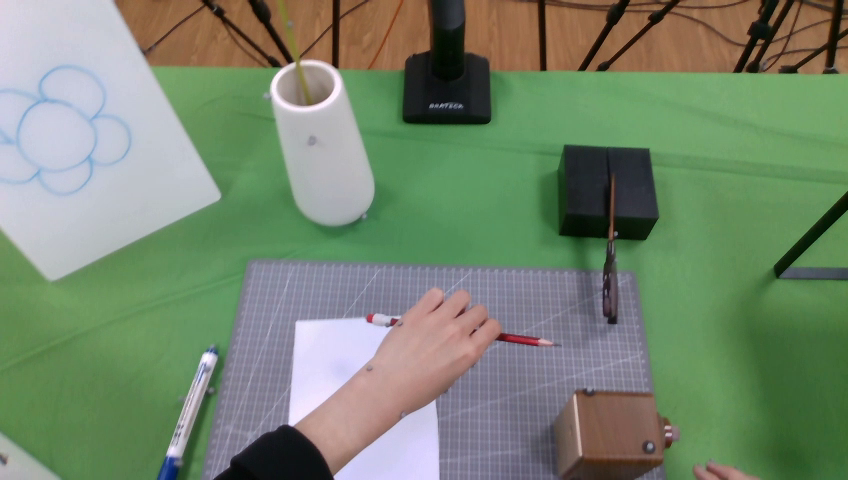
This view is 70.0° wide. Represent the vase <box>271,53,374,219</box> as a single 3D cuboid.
[{"bbox_3d":[-0.112,-0.109,0.669,0.098,0.201,0.097,-1,59,2],"label":"vase"}]

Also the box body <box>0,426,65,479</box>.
[{"bbox_3d":[-0.538,0.216,0.511,0.362,0.161,0.253,26,64,14],"label":"box body"}]

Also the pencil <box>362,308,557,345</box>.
[{"bbox_3d":[0.027,0.080,0.559,0.193,0.012,0.012,6,59,25],"label":"pencil"}]

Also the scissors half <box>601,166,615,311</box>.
[{"bbox_3d":[0.201,-0.007,0.657,0.013,0.040,0.174,0,61,22],"label":"scissors half"}]

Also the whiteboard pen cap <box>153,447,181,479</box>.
[{"bbox_3d":[-0.247,0.218,0.587,0.018,0.018,0.033,8,56,6],"label":"whiteboard pen cap"}]

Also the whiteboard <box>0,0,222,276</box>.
[{"bbox_3d":[-0.404,-0.153,0.671,0.217,0.308,0.142,-29,45,-14],"label":"whiteboard"}]

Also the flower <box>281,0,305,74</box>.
[{"bbox_3d":[-0.120,-0.162,0.604,0.044,0.365,0.038,-5,43,2],"label":"flower"}]

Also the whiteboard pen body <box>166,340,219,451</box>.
[{"bbox_3d":[-0.239,0.168,0.617,0.017,0.017,0.139,8,59,6],"label":"whiteboard pen body"}]

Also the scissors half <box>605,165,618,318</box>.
[{"bbox_3d":[0.210,0.000,0.674,0.012,0.040,0.174,-2,79,27],"label":"scissors half"}]

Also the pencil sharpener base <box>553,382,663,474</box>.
[{"bbox_3d":[0.165,0.175,0.556,0.077,0.108,0.061,1,60,1],"label":"pencil sharpener base"}]

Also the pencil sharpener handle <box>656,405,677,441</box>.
[{"bbox_3d":[0.216,0.167,0.546,0.030,0.068,0.035,1,70,1],"label":"pencil sharpener handle"}]
